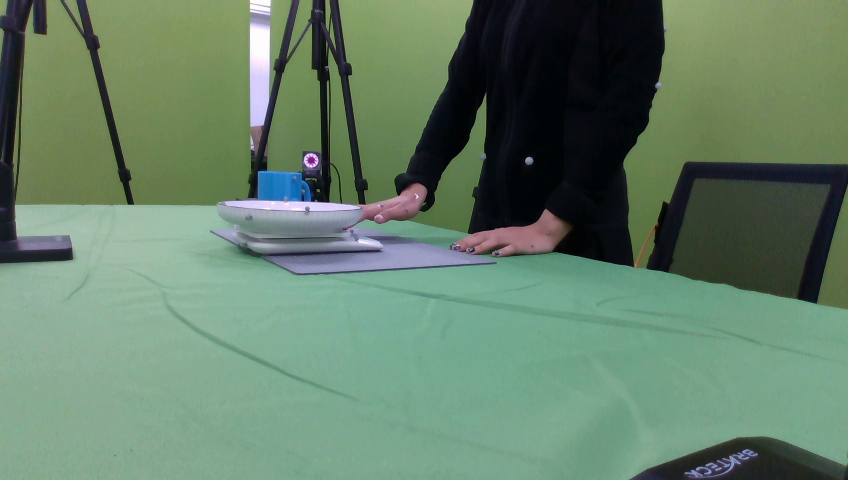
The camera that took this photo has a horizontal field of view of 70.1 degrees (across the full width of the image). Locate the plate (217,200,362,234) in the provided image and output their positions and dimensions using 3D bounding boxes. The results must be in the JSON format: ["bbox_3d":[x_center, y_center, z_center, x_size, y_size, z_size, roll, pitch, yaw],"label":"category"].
[{"bbox_3d":[-0.196,-0.035,0.894,0.209,0.038,0.209,2,7,0],"label":"plate"}]

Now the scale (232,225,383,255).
[{"bbox_3d":[-0.177,-0.004,0.920,0.202,0.031,0.148,-1,9,-30],"label":"scale"}]

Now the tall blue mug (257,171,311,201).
[{"bbox_3d":[-0.259,-0.070,1.107,0.078,0.108,0.107,2,7,5],"label":"tall blue mug"}]
